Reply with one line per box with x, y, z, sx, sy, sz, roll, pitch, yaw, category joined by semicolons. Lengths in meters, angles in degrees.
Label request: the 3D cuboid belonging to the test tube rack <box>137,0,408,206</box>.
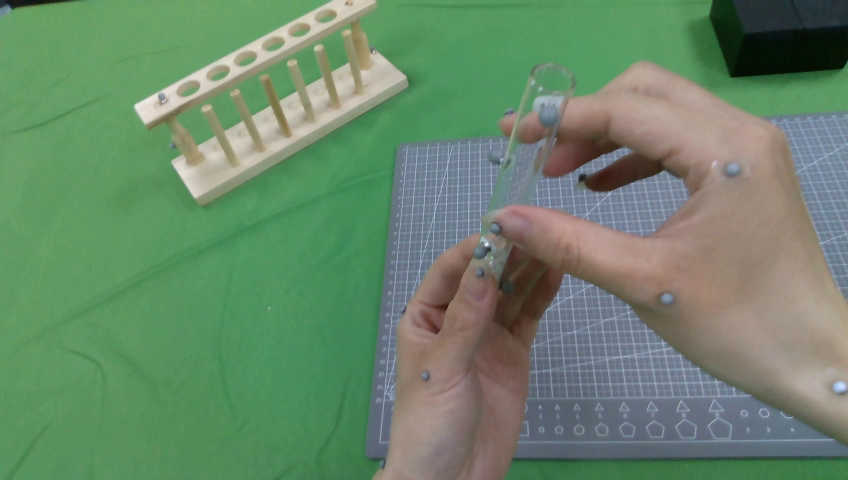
-0.138;-0.140;0.592;0.242;0.086;0.066;-33;56;-14;test tube rack

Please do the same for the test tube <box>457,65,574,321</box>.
0.032;-0.007;0.253;0.017;0.151;0.017;4;53;-5;test tube
